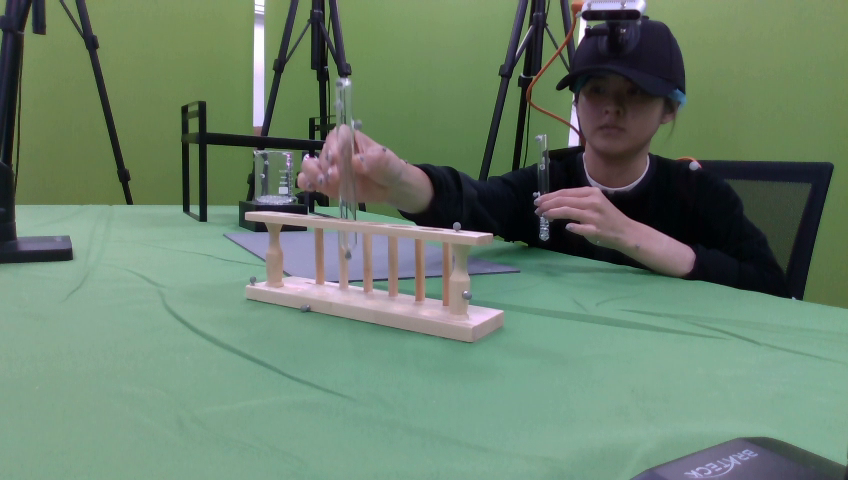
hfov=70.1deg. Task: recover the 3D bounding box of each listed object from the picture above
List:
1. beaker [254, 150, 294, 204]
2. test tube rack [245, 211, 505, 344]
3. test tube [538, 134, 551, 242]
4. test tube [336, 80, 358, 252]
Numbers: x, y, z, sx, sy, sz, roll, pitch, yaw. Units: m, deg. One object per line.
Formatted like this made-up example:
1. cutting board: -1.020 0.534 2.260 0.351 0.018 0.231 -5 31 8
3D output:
1. beaker: -0.289 -0.120 1.151 0.073 0.100 0.084 8 9 33
2. test tube rack: -0.049 0.025 0.547 0.241 0.085 0.067 7 8 29
3. test tube: 0.168 -0.072 0.841 0.017 0.150 0.017 -2 7 1
4. test tube: -0.068 -0.064 0.533 0.017 0.150 0.017 -1 4 0
